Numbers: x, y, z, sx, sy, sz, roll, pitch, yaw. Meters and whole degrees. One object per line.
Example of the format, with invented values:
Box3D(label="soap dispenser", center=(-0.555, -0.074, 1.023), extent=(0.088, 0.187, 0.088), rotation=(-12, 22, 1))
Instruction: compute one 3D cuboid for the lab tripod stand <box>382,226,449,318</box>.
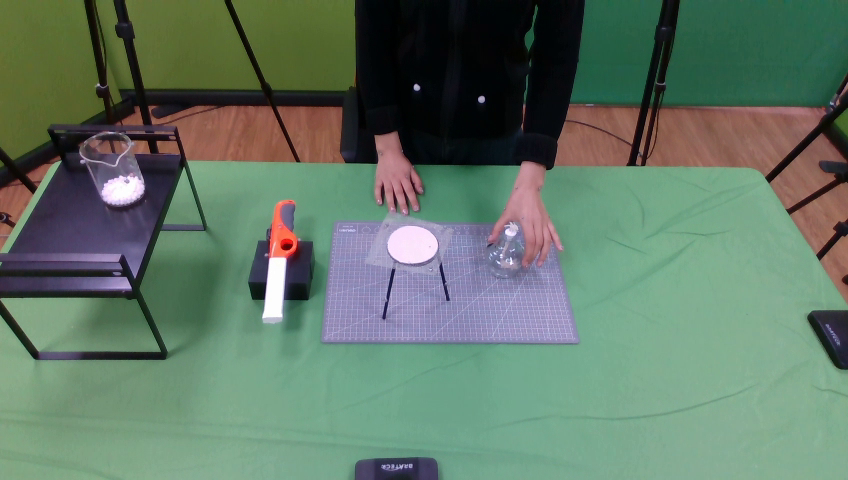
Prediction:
Box3D(label="lab tripod stand", center=(-0.024, 0.055, 1.063), extent=(0.148, 0.132, 0.147), rotation=(2, 48, -2))

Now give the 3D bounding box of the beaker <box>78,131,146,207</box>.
Box3D(label="beaker", center=(-0.488, -0.108, 0.961), extent=(0.074, 0.101, 0.083), rotation=(-25, 54, -25))

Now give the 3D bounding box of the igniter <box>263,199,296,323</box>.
Box3D(label="igniter", center=(-0.260, 0.027, 1.083), extent=(0.057, 0.025, 0.274), rotation=(0, 49, -7))

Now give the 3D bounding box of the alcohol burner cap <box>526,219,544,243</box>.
Box3D(label="alcohol burner cap", center=(0.225, -0.021, 1.218), extent=(0.034, 0.048, 0.033), rotation=(1, 45, -1))

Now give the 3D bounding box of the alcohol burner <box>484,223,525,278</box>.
Box3D(label="alcohol burner", center=(0.153, 0.014, 1.129), extent=(0.078, 0.119, 0.077), rotation=(3, 45, -3))

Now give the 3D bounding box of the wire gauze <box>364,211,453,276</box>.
Box3D(label="wire gauze", center=(-0.024, 0.006, 1.016), extent=(0.121, 0.011, 0.124), rotation=(14, 48, 9))
